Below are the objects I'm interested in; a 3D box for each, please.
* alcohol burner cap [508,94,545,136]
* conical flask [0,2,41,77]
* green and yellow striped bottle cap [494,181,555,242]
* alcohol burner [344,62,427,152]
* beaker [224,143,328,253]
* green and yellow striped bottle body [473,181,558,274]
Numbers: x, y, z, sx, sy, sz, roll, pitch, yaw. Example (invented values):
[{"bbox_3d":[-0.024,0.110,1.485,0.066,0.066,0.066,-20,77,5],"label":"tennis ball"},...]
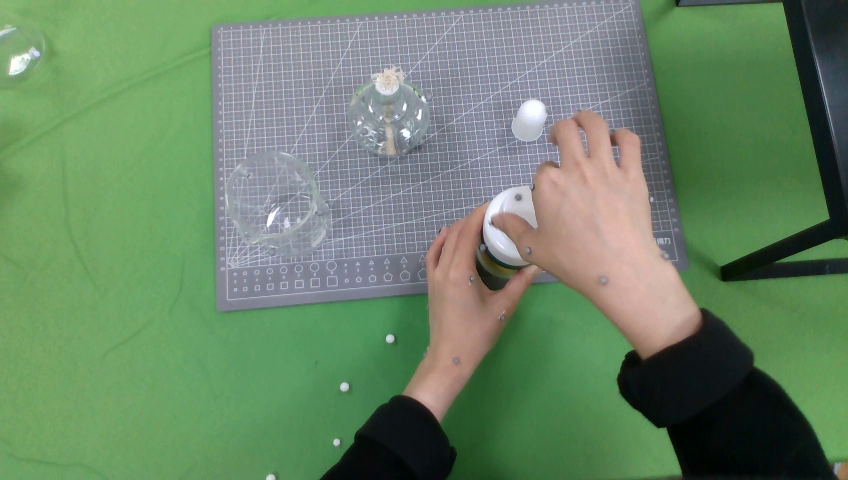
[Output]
[{"bbox_3d":[0.102,-0.125,0.593,0.034,0.048,0.033,0,77,-1],"label":"alcohol burner cap"},{"bbox_3d":[-0.426,-0.211,0.561,0.075,0.122,0.075,0,77,-1],"label":"conical flask"},{"bbox_3d":[0.078,-0.023,0.471,0.045,0.020,0.045,3,70,-8],"label":"green and yellow striped bottle cap"},{"bbox_3d":[-0.035,-0.126,0.553,0.078,0.119,0.077,1,76,-2],"label":"alcohol burner"},{"bbox_3d":[-0.127,-0.029,0.538,0.074,0.100,0.083,23,79,5],"label":"beaker"},{"bbox_3d":[0.079,-0.011,0.527,0.063,0.120,0.063,0,77,0],"label":"green and yellow striped bottle body"}]
